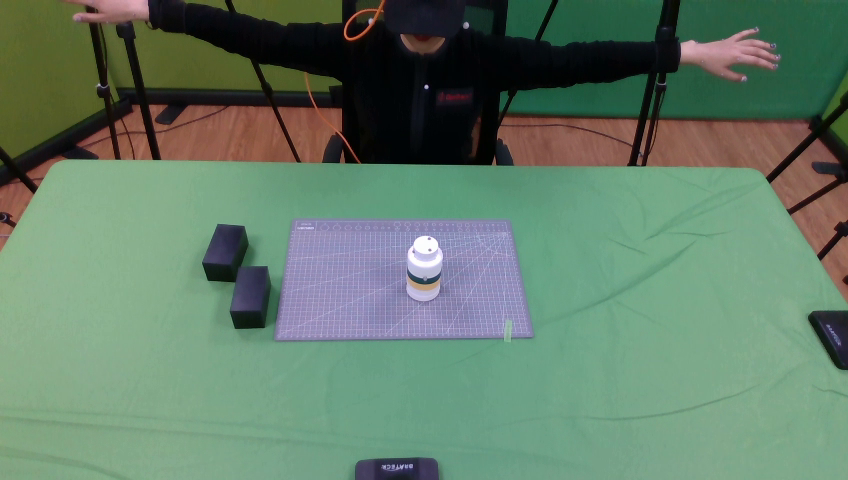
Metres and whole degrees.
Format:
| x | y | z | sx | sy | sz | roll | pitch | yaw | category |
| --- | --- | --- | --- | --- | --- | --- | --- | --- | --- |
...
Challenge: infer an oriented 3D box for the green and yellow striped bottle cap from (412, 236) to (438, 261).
| x | y | z | sx | sy | sz | roll | pitch | yaw | category |
| --- | --- | --- | --- | --- | --- | --- | --- | --- | --- |
| 0.002 | 0.013 | 1.040 | 0.045 | 0.020 | 0.045 | 3 | 45 | -3 | green and yellow striped bottle cap |

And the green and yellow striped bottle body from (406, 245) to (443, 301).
| x | y | z | sx | sy | sz | roll | pitch | yaw | category |
| --- | --- | --- | --- | --- | --- | --- | --- | --- | --- |
| 0.001 | 0.049 | 1.077 | 0.063 | 0.120 | 0.063 | 2 | 46 | -2 | green and yellow striped bottle body |
